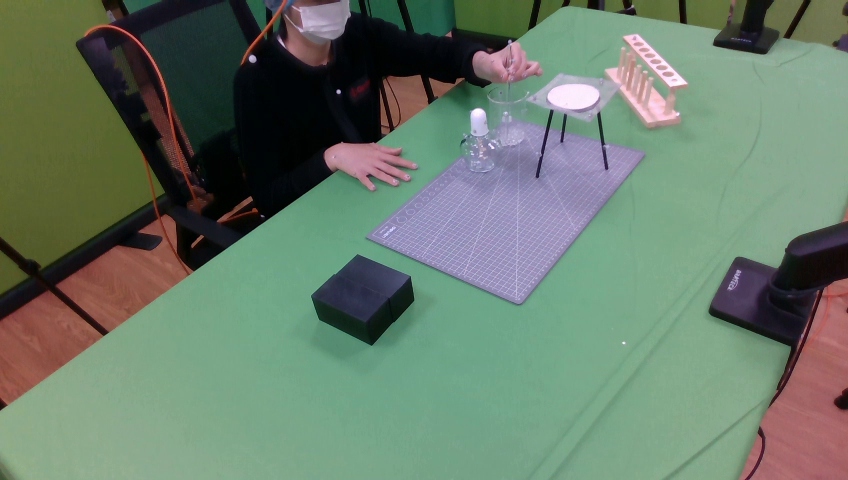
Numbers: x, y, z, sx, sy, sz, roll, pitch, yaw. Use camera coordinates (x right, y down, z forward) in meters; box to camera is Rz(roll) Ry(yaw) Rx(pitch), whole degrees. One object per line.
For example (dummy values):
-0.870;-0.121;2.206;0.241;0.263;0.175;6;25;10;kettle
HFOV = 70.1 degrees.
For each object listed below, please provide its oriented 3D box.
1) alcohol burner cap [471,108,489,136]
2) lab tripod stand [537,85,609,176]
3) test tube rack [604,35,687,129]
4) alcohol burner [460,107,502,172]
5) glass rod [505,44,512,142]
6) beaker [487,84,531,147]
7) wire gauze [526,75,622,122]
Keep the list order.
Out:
0.098;-0.211;1.074;0.034;0.048;0.033;-6;42;6;alcohol burner cap
0.259;-0.192;1.068;0.148;0.132;0.147;-4;42;4;lab tripod stand
0.447;-0.330;1.241;0.067;0.085;0.241;-9;41;-1;test tube rack
0.102;-0.185;1.098;0.078;0.119;0.077;-6;40;5;alcohol burner
0.155;-0.265;1.111;0.008;0.200;0.008;-2;43;3;glass rod
0.163;-0.237;1.161;0.084;0.101;0.073;-10;41;-3;beaker
0.255;-0.248;1.030;0.124;0.011;0.122;24;51;32;wire gauze
